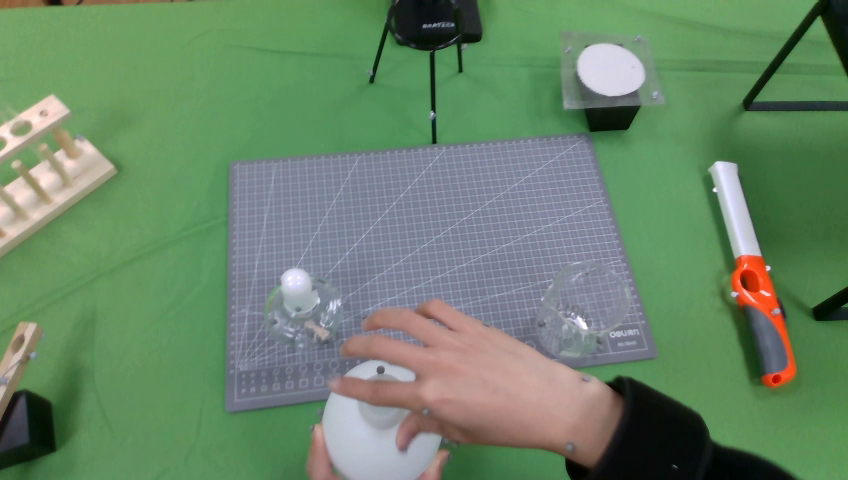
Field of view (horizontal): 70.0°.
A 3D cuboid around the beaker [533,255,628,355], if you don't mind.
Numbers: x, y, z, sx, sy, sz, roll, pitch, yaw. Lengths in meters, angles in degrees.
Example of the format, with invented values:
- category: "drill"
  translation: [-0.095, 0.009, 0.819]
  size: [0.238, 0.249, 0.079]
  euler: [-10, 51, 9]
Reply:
- category: "beaker"
  translation: [0.150, 0.070, 0.612]
  size: [0.084, 0.101, 0.073]
  euler: [-4, 63, -4]

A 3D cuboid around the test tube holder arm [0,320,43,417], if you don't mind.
- category: "test tube holder arm"
  translation: [-0.383, 0.156, 0.535]
  size: [0.013, 0.015, 0.177]
  euler: [7, 64, 6]

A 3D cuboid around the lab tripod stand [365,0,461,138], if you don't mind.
- category: "lab tripod stand"
  translation: [-0.004, -0.220, 0.734]
  size: [0.148, 0.132, 0.147]
  euler: [2, 64, -4]

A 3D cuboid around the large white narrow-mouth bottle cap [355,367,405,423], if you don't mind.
- category: "large white narrow-mouth bottle cap"
  translation: [-0.032, 0.111, 0.435]
  size: [0.038, 0.024, 0.037]
  euler: [1, 63, -2]

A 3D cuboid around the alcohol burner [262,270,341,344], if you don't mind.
- category: "alcohol burner"
  translation: [-0.122, 0.059, 0.595]
  size: [0.078, 0.120, 0.077]
  euler: [2, 61, -4]

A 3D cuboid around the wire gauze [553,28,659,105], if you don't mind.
- category: "wire gauze"
  translation: [0.225, -0.220, 0.762]
  size: [0.121, 0.011, 0.124]
  euler: [1, 63, -3]

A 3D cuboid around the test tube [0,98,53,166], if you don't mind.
- category: "test tube"
  translation: [-0.432, -0.125, 0.632]
  size: [0.017, 0.151, 0.017]
  euler: [0, 61, 1]

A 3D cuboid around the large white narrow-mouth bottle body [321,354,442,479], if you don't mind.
- category: "large white narrow-mouth bottle body"
  translation: [-0.035, 0.152, 0.511]
  size: [0.102, 0.196, 0.101]
  euler: [1, 63, -2]

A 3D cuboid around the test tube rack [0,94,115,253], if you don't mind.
- category: "test tube rack"
  translation: [-0.468, -0.043, 0.644]
  size: [0.066, 0.086, 0.242]
  euler: [40, 68, 15]

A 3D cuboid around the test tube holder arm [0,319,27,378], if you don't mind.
- category: "test tube holder arm"
  translation: [-0.383, 0.115, 0.555]
  size: [0.010, 0.015, 0.087]
  euler: [5, 64, 5]

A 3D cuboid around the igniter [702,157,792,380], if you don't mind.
- category: "igniter"
  translation: [0.366, 0.024, 0.692]
  size: [0.057, 0.025, 0.274]
  euler: [5, 63, -13]

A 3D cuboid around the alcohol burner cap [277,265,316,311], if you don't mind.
- category: "alcohol burner cap"
  translation: [-0.120, 0.043, 0.562]
  size: [0.034, 0.048, 0.033]
  euler: [0, 58, 0]
